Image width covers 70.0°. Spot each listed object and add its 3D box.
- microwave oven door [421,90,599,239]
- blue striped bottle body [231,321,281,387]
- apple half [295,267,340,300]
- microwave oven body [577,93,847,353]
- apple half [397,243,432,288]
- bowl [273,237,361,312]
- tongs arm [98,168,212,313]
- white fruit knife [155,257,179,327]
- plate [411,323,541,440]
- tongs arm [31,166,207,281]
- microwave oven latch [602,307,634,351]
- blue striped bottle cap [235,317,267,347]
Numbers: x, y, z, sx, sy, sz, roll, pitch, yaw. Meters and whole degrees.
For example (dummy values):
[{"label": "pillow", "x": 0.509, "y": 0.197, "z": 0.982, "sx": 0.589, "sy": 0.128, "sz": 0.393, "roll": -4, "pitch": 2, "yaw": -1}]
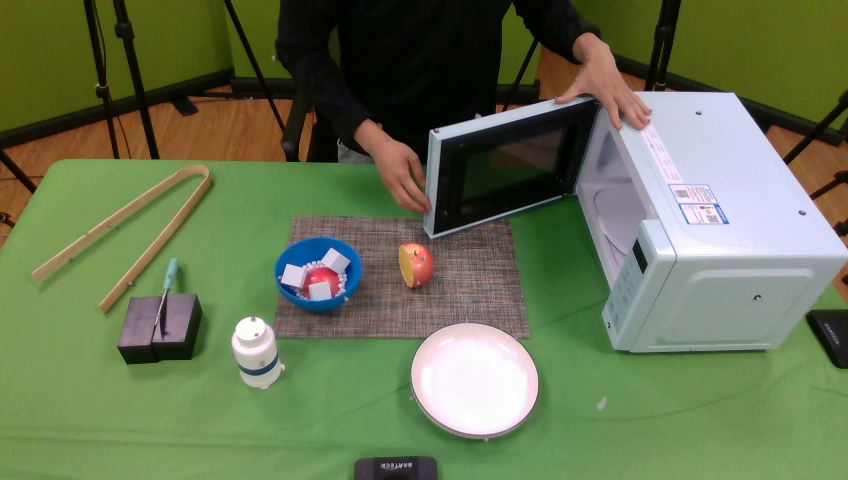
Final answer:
[{"label": "microwave oven door", "x": 0.166, "y": -0.147, "z": 1.181, "sx": 0.356, "sy": 0.245, "sz": 0.039, "roll": -18, "pitch": 49, "yaw": -20}, {"label": "blue striped bottle body", "x": -0.262, "y": 0.171, "z": 0.944, "sx": 0.063, "sy": 0.121, "sz": 0.062, "roll": 2, "pitch": 46, "yaw": -2}, {"label": "apple half", "x": -0.187, "y": 0.071, "z": 1.067, "sx": 0.081, "sy": 0.033, "sz": 0.081, "roll": 3, "pitch": 46, "yaw": -3}, {"label": "microwave oven body", "x": 0.475, "y": -0.041, "z": 1.109, "sx": 0.326, "sy": 0.261, "sz": 0.438, "roll": -1, "pitch": 45, "yaw": -4}, {"label": "apple half", "x": -0.013, "y": 0.047, "z": 1.115, "sx": 0.053, "sy": 0.075, "sz": 0.080, "roll": -10, "pitch": 43, "yaw": -21}, {"label": "bowl", "x": -0.186, "y": 0.074, "z": 1.070, "sx": 0.151, "sy": 0.077, "sz": 0.150, "roll": 3, "pitch": 46, "yaw": -3}, {"label": "tongs arm", "x": -0.504, "y": -0.012, "z": 1.167, "sx": 0.028, "sy": 0.028, "sz": 0.385, "roll": 11, "pitch": 46, "yaw": 11}, {"label": "white fruit knife", "x": -0.440, "y": 0.085, "z": 1.037, "sx": 0.016, "sy": 0.027, "sz": 0.206, "roll": 10, "pitch": 26, "yaw": -19}, {"label": "plate", "x": 0.082, "y": 0.228, "z": 0.976, "sx": 0.208, "sy": 0.039, "sz": 0.206, "roll": 2, "pitch": 45, "yaw": -2}, {"label": "tongs arm", "x": -0.578, "y": -0.040, "z": 1.184, "sx": 0.050, "sy": 0.026, "sz": 0.384, "roll": 23, "pitch": 48, "yaw": 17}, {"label": "microwave oven latch", "x": 0.332, "y": 0.153, "z": 1.044, "sx": 0.030, "sy": 0.029, "sz": 0.078, "roll": -1, "pitch": 45, "yaw": -4}, {"label": "blue striped bottle cap", "x": -0.260, "y": 0.137, "z": 0.907, "sx": 0.044, "sy": 0.021, "sz": 0.044, "roll": 3, "pitch": 43, "yaw": -2}]
